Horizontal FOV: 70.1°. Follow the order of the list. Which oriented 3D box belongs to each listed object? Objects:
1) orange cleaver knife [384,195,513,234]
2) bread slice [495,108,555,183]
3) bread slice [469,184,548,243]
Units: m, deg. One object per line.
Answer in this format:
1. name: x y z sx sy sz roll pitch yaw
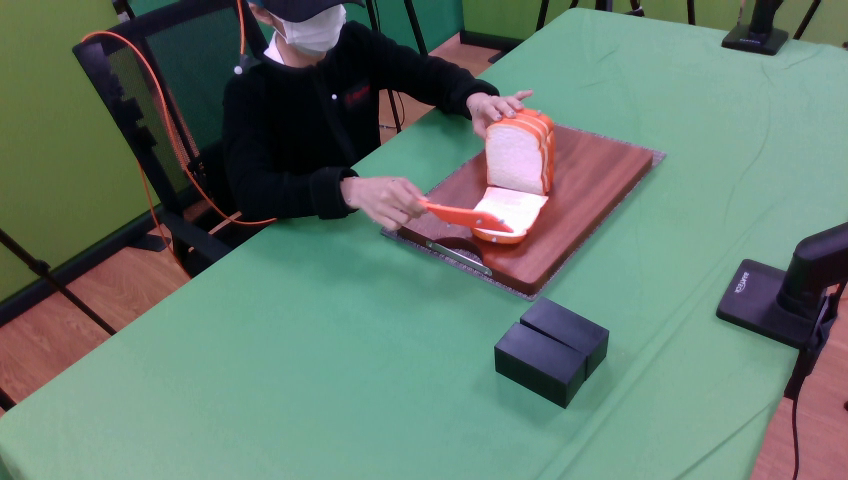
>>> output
1. orange cleaver knife: 0.033 -0.037 0.908 0.209 0.078 0.012 13 77 35
2. bread slice: 0.169 -0.156 1.003 0.106 0.135 0.018 18 50 20
3. bread slice: 0.126 -0.042 0.953 0.104 0.019 0.131 11 42 25
